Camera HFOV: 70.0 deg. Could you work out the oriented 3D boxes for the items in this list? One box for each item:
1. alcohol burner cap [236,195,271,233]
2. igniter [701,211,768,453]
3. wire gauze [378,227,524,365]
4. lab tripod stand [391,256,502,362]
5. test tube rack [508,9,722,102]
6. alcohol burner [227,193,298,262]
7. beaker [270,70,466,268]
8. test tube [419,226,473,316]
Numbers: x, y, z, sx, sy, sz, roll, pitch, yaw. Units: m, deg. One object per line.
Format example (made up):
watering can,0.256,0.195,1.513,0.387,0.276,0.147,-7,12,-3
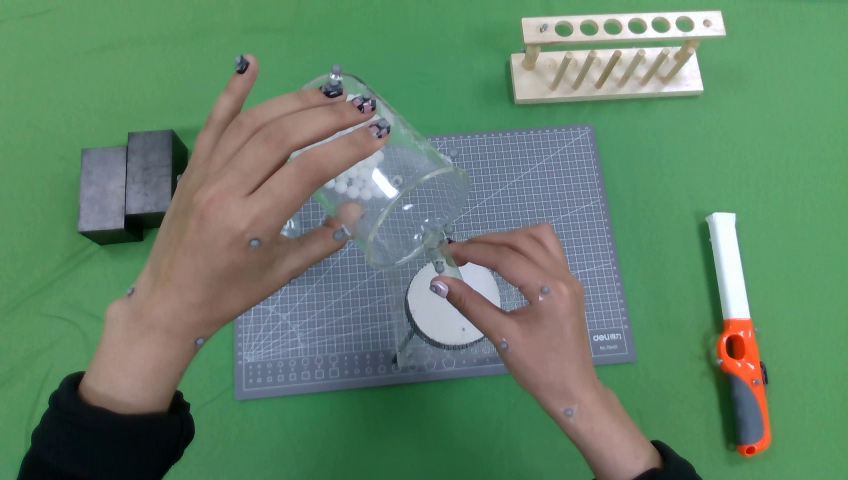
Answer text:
alcohol burner cap,-0.176,-0.029,0.623,0.034,0.048,0.033,2,76,-6
igniter,0.355,0.099,0.696,0.057,0.025,0.275,2,74,-12
wire gauze,0.025,0.050,0.567,0.125,0.011,0.120,-6,73,-5
lab tripod stand,0.021,0.072,0.630,0.148,0.132,0.147,0,73,0
test tube rack,0.233,-0.227,0.751,0.242,0.085,0.066,-4,74,-3
alcohol burner,-0.179,-0.019,0.657,0.078,0.120,0.077,0,72,-1
beaker,-0.034,-0.044,0.354,0.074,0.084,0.099,-43,69,0
test tube,0.019,0.028,0.440,0.017,0.151,0.017,-5,65,11
